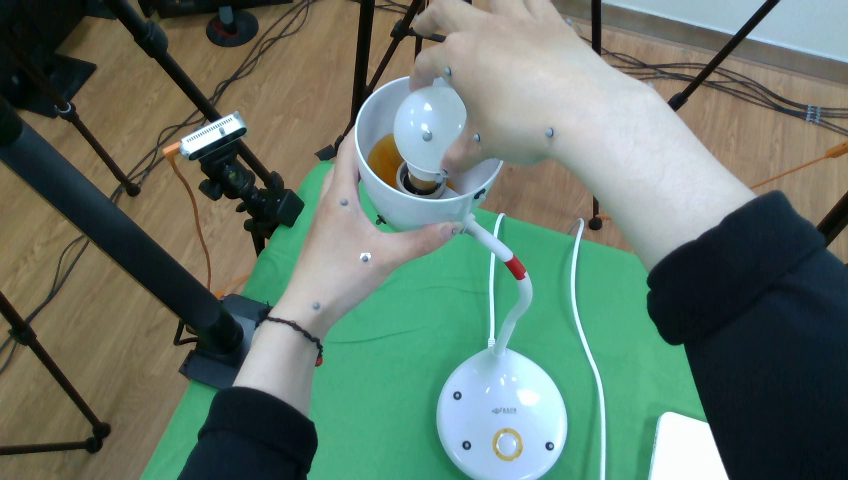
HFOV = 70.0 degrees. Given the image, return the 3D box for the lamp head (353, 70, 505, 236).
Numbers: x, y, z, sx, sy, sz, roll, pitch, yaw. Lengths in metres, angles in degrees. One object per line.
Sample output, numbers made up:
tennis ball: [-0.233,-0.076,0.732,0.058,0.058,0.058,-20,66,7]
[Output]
lamp head: [0.002,-0.052,0.484,0.112,0.124,0.111,1,61,-1]

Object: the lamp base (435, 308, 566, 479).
lamp base: [0.091,0.163,0.682,0.161,0.182,0.177,-10,60,-6]

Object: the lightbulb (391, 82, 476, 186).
lightbulb: [0.003,-0.072,0.449,0.059,0.108,0.059,3,68,-7]

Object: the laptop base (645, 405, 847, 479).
laptop base: [0.418,0.350,0.680,0.353,0.023,0.234,17,66,8]

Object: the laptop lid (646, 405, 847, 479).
laptop lid: [0.417,0.347,0.669,0.356,0.013,0.240,18,65,9]
